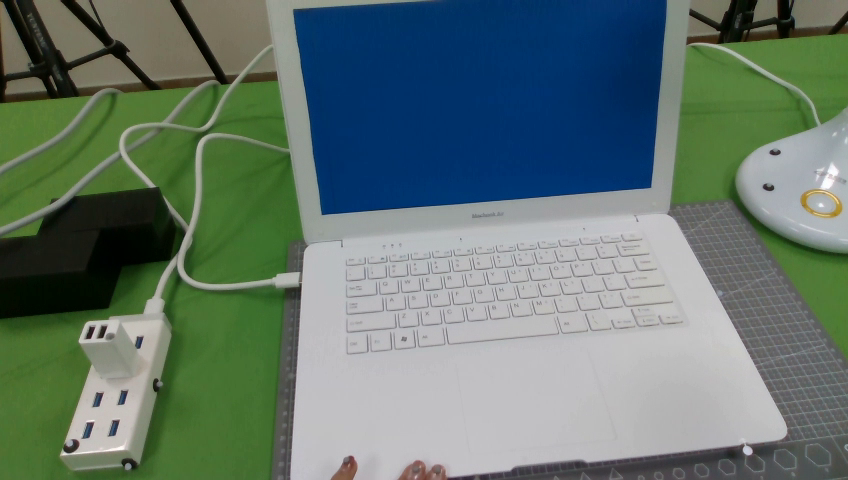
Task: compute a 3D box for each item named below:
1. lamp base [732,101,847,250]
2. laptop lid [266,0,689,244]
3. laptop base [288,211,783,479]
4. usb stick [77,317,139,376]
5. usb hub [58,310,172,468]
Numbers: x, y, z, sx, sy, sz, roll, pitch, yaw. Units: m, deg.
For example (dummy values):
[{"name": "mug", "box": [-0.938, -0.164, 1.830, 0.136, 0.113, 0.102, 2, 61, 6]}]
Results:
[{"name": "lamp base", "box": [0.399, -0.111, 0.564, 0.160, 0.182, 0.178, 17, 45, 18]}, {"name": "laptop lid", "box": [0.054, -0.115, 0.535, 0.357, 0.243, 0.013, -6, 24, -3]}, {"name": "laptop base", "box": [0.072, 0.075, 0.501, 0.355, 0.023, 0.233, -5, 48, -4]}, {"name": "usb stick", "box": [-0.232, 0.084, 0.453, 0.027, 0.060, 0.021, -6, 45, -2]}, {"name": "usb hub", "box": [-0.234, 0.110, 0.468, 0.049, 0.025, 0.124, -5, 45, -2]}]
